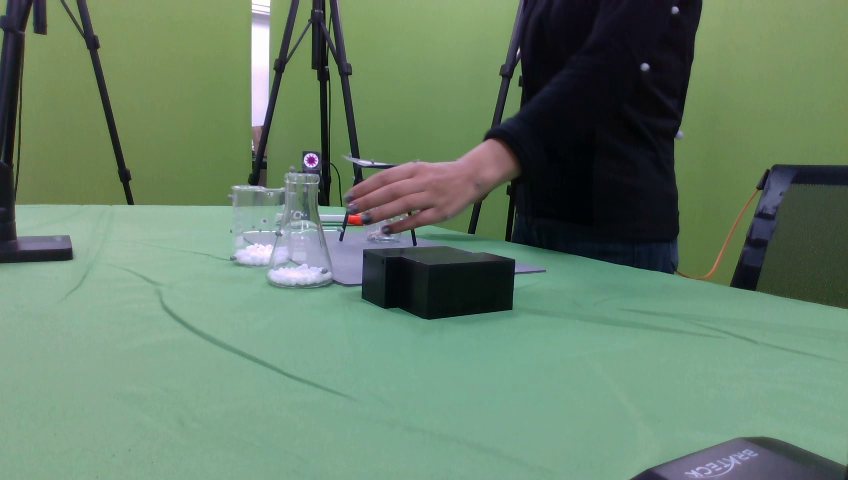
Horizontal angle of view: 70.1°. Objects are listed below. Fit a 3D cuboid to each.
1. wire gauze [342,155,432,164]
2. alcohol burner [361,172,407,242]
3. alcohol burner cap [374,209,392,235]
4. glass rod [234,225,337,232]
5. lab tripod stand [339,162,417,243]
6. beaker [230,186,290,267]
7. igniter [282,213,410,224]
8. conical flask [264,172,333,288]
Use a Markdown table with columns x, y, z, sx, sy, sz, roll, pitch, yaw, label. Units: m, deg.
| x | y | z | sx | sy | sz | roll | pitch | yaw | label |
| --- | --- | --- | --- | --- | --- | --- | --- | --- | --- |
| -0.065 | -0.131 | 1.017 | 0.122 | 0.011 | 0.124 | 1 | 9 | -26 | wire gauze |
| -0.067 | -0.056 | 1.030 | 0.078 | 0.119 | 0.078 | 4 | 9 | 0 | alcohol burner |
| -0.078 | -0.036 | 1.148 | 0.034 | 0.048 | 0.034 | 3 | 8 | 0 | alcohol burner cap |
| -0.256 | -0.022 | 1.136 | 0.201 | 0.008 | 0.008 | -3 | 8 | -33 | glass rod |
| -0.067 | -0.065 | 1.027 | 0.148 | 0.131 | 0.148 | 4 | 7 | 0 | lab tripod stand |
| -0.209 | -0.019 | 0.778 | 0.074 | 0.100 | 0.084 | 3 | 6 | 4 | beaker |
| -0.159 | -0.046 | 1.287 | 0.278 | 0.025 | 0.057 | -1 | -3 | -21 | igniter |
| -0.136 | -0.013 | 0.661 | 0.075 | 0.122 | 0.075 | 2 | 7 | 0 | conical flask |
